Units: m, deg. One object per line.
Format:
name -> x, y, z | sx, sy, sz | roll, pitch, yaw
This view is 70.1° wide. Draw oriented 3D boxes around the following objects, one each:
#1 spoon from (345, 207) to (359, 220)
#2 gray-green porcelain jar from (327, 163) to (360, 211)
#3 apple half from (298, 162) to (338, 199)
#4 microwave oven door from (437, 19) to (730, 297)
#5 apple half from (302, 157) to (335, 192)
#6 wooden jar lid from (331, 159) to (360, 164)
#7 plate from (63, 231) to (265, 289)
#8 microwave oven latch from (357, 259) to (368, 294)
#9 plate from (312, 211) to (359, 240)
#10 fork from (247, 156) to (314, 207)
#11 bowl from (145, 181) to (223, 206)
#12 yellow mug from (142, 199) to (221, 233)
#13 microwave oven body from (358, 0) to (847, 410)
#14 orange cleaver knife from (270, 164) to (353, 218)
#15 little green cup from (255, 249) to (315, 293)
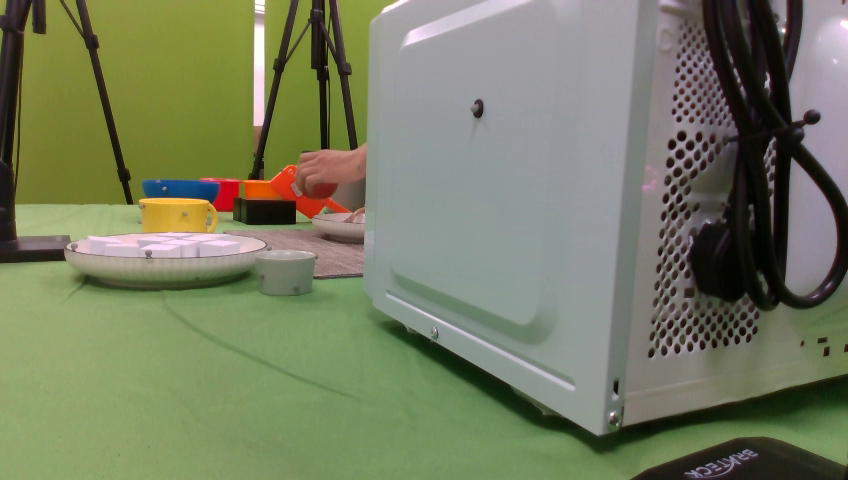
spoon -> -0.126, -0.047, 1.117 | 0.041, 0.021, 0.194 | -2, 18, 14
gray-green porcelain jar -> -0.187, -0.125, 1.490 | 0.106, 0.126, 0.106 | 2, 7, 0
apple half -> -0.217, -0.121, 1.204 | 0.053, 0.074, 0.081 | 7, 18, 43
microwave oven door -> 0.180, -0.076, 0.618 | 0.358, 0.243, 0.039 | -2, 9, -28
apple half -> -0.199, -0.122, 1.180 | 0.032, 0.081, 0.082 | 29, 21, 30
wooden jar lid -> -0.185, -0.187, 1.481 | 0.108, 0.020, 0.108 | 4, 6, 0
plate -> -0.288, 0.021, 0.687 | 0.208, 0.039, 0.207 | 2, 8, 0
microwave oven latch -> -0.019, 0.031, 0.531 | 0.079, 0.029, 0.030 | -2, 7, -29
plate -> -0.091, -0.026, 1.063 | 0.209, 0.038, 0.209 | 2, 7, 0
fork -> -0.360, -0.147, 1.522 | 0.207, 0.018, 0.028 | -43, 7, -7
bowl -> -0.499, -0.081, 1.261 | 0.151, 0.077, 0.151 | 2, 8, 0
yellow mug -> -0.373, -0.030, 0.948 | 0.099, 0.064, 0.131 | 6, 8, 30
microwave oven body -> 0.210, -0.051, 0.471 | 0.444, 0.260, 0.324 | -1, 7, -28
orange cleaver knife -> -0.240, -0.088, 1.329 | 0.212, 0.077, 0.012 | 36, -9, -33
little green cup -> -0.144, 0.032, 0.627 | 0.061, 0.038, 0.061 | 2, 5, 0
